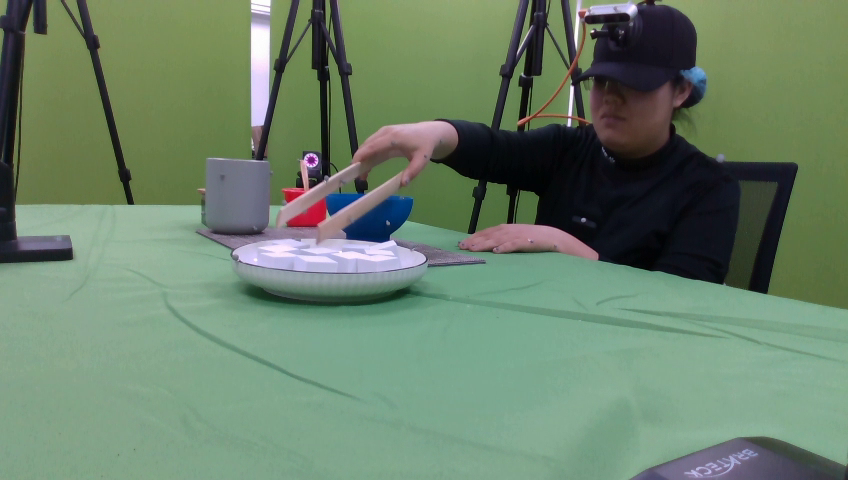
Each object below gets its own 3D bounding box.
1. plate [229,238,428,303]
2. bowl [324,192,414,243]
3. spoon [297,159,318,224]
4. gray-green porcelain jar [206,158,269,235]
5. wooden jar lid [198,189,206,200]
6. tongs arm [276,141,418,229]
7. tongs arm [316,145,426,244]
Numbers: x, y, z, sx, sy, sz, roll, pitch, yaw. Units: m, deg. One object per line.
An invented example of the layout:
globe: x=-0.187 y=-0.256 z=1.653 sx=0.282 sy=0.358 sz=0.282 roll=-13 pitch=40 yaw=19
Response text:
plate: x=-0.099 y=0.032 z=0.651 sx=0.209 sy=0.038 sz=0.209 roll=3 pitch=8 yaw=0
bowl: x=-0.094 y=-0.037 z=1.015 sx=0.151 sy=0.077 sz=0.151 roll=3 pitch=7 yaw=0
spoon: x=-0.244 y=-0.103 z=1.251 sx=0.042 sy=0.021 sz=0.193 roll=1 pitch=51 yaw=-17
gray-green porcelain jar: x=-0.322 y=-0.076 z=1.048 sx=0.106 sy=0.126 sz=0.106 roll=3 pitch=7 yaw=0
wooden jar lid: x=-0.382 y=-0.088 z=1.175 sx=0.108 sy=0.020 sz=0.108 roll=3 pitch=8 yaw=0
tongs arm: x=-0.088 y=-0.085 z=0.842 sx=0.050 sy=0.026 sz=0.385 roll=18 pitch=26 yaw=10
tongs arm: x=-0.059 y=-0.074 z=0.835 sx=0.028 sy=0.028 sz=0.388 roll=15 pitch=25 yaw=13
